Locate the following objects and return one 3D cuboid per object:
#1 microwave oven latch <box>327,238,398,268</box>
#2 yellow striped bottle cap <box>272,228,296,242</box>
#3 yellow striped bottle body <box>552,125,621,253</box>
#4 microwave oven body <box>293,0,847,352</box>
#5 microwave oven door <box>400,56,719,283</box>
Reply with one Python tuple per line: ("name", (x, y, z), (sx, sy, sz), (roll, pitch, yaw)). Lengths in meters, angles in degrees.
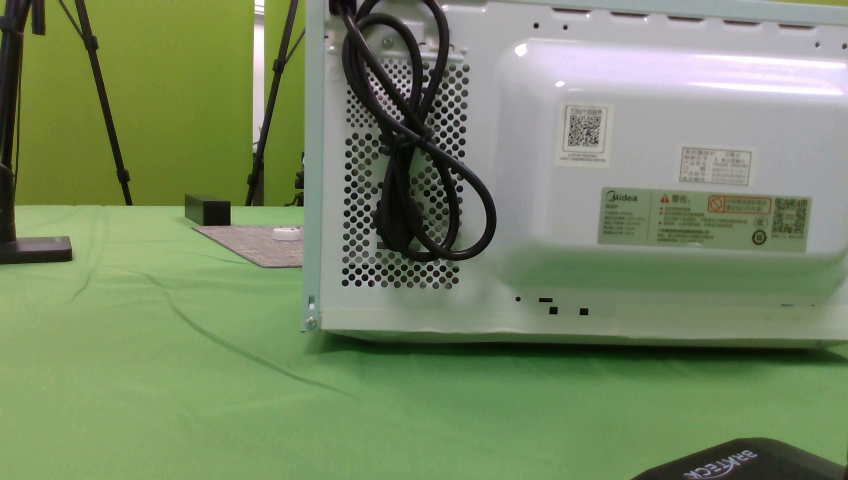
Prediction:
("microwave oven latch", (-0.069, 0.015, 0.694), (0.079, 0.029, 0.030), (3, 7, -3))
("yellow striped bottle cap", (-0.232, -0.008, 1.012), (0.044, 0.018, 0.044), (3, 9, 0))
("yellow striped bottle body", (0.157, -0.050, 0.586), (0.063, 0.120, 0.063), (0, 6, 0))
("microwave oven body", (0.122, -0.055, 0.550), (0.442, 0.260, 0.325), (3, 7, -5))
("microwave oven door", (0.155, -0.078, 0.698), (0.356, 0.243, 0.039), (2, 8, -5))
